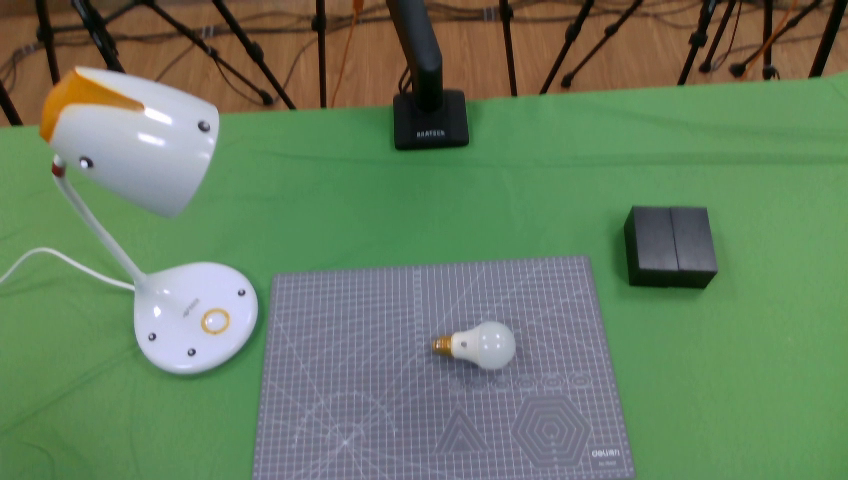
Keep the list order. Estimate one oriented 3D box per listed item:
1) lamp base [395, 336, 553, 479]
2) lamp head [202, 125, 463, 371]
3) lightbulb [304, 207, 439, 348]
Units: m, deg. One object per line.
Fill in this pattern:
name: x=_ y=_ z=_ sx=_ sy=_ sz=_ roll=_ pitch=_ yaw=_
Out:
lamp base: x=0.043 y=0.153 z=0.600 sx=0.179 sy=0.181 sz=0.159 roll=11 pitch=69 yaw=11
lamp head: x=-0.055 y=0.018 z=0.308 sx=0.113 sy=0.123 sz=0.111 roll=18 pitch=60 yaw=-33
lightbulb: x=-0.033 y=0.028 z=0.289 sx=0.060 sy=0.108 sz=0.059 roll=15 pitch=51 yaw=-19
